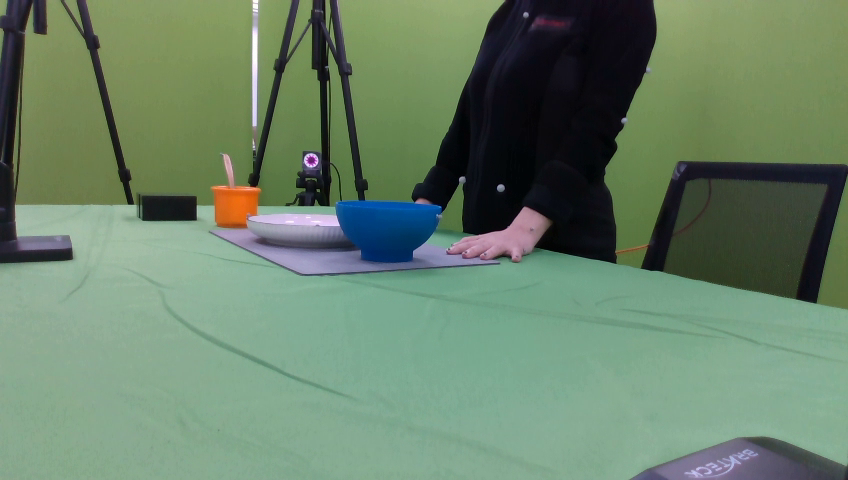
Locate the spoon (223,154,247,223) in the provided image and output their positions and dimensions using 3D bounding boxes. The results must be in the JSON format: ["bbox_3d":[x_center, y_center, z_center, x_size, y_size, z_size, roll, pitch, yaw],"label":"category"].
[{"bbox_3d":[-0.381,-0.105,1.202,0.042,0.193,0.021,0,-37,-27],"label":"spoon"}]

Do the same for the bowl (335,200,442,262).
[{"bbox_3d":[-0.051,-0.013,0.848,0.151,0.077,0.151,3,7,0],"label":"bowl"}]

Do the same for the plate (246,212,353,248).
[{"bbox_3d":[-0.184,-0.017,0.995,0.209,0.038,0.209,3,8,0],"label":"plate"}]
